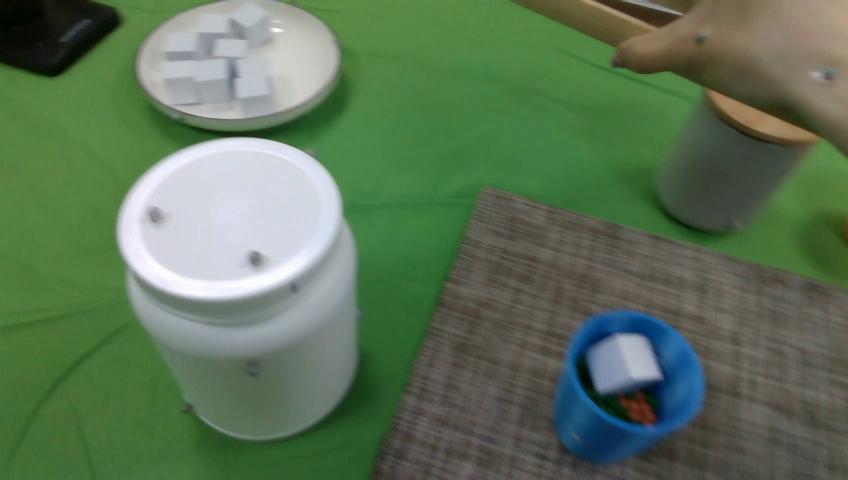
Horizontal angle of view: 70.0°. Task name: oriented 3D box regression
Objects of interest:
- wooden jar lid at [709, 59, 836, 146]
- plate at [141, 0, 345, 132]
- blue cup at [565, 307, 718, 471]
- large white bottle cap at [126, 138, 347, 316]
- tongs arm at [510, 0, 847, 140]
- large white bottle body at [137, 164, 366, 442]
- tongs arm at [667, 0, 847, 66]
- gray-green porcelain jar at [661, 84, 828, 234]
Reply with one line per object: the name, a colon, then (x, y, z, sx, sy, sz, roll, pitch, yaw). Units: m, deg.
wooden jar lid: (0.290, -0.112, 0.506, 0.108, 0.021, 0.107, 4, 50, -4)
plate: (-0.188, -0.185, 0.649, 0.208, 0.039, 0.205, 3, 53, -3)
blue cup: (0.137, 0.113, 0.413, 0.093, 0.101, 0.091, 1, 53, -1)
large white bottle cap: (-0.099, -0.011, 0.329, 0.115, 0.018, 0.113, 3, 53, -3)
tongs arm: (0.103, -0.150, 0.369, 0.382, 0.027, 0.050, 35, 69, 23)
large white bottle body: (-0.104, 0.040, 0.397, 0.131, 0.186, 0.129, 3, 53, -3)
tongs arm: (0.116, -0.166, 0.377, 0.385, 0.028, 0.028, 31, 64, 21)
gray-green porcelain jar: (0.286, -0.075, 0.556, 0.106, 0.127, 0.105, 2, 53, -3)
